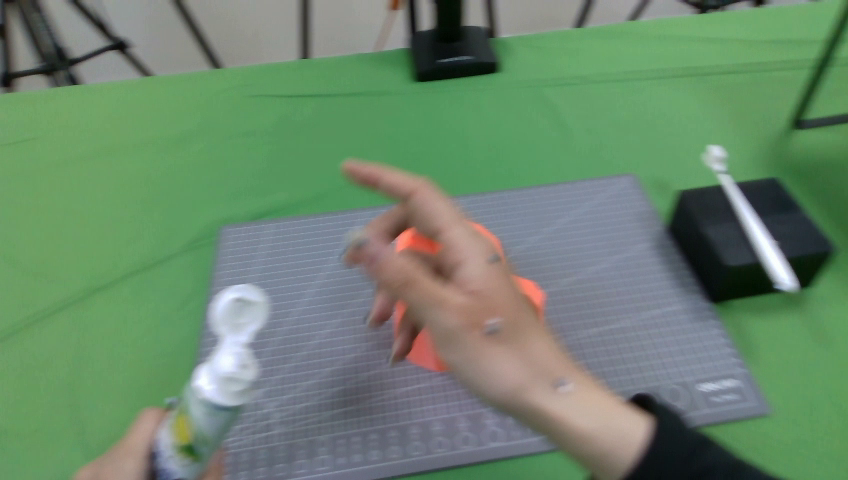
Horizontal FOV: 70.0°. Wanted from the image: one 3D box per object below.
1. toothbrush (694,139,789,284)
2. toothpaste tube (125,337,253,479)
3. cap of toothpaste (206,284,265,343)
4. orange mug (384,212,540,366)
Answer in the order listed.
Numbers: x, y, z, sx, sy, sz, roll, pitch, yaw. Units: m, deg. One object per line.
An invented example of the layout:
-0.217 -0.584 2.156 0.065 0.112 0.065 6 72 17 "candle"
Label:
0.281 -0.032 0.543 0.014 0.017 0.180 -2 46 -3 "toothbrush"
-0.151 0.124 0.379 0.035 0.165 0.054 7 33 -52 "toothpaste tube"
-0.113 0.044 0.367 0.037 0.037 0.011 -34 20 -26 "cap of toothpaste"
0.030 0.044 0.491 0.125 0.102 0.083 12 47 21 "orange mug"
